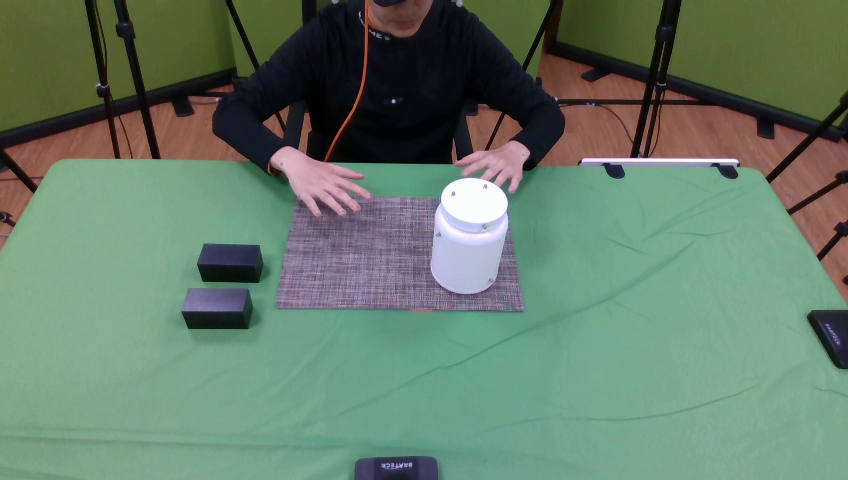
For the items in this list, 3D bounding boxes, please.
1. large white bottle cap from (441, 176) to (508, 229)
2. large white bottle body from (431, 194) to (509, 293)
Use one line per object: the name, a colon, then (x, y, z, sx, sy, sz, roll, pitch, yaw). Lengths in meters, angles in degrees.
large white bottle cap: (0.086, -0.065, 1.030, 0.115, 0.018, 0.114, 2, 47, -2)
large white bottle body: (0.081, -0.007, 1.091, 0.131, 0.185, 0.130, 2, 47, -2)
